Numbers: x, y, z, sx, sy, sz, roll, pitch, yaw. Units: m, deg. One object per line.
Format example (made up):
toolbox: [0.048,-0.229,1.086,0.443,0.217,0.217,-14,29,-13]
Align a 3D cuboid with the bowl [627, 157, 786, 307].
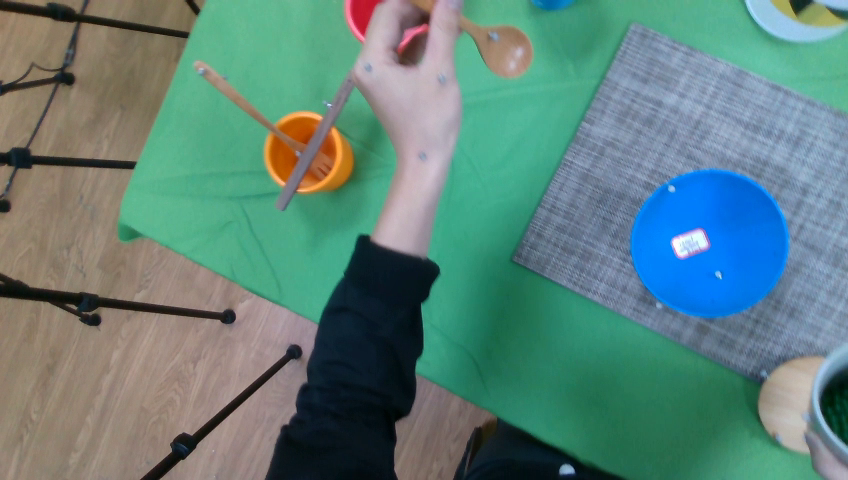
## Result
bowl: [0.287,-0.009,0.641,0.151,0.077,0.151,0,92,9]

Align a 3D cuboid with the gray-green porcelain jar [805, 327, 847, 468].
gray-green porcelain jar: [0.379,0.138,0.504,0.105,0.128,0.105,-14,58,24]

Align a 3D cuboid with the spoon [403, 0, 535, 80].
spoon: [0.030,-0.163,0.459,0.021,0.195,0.042,39,109,32]

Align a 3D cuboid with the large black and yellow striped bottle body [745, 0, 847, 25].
large black and yellow striped bottle body: [0.387,-0.293,0.565,0.130,0.184,0.131,0,92,9]

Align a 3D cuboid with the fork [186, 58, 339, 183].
fork: [-0.175,-0.130,0.677,0.028,0.018,0.209,-39,130,16]

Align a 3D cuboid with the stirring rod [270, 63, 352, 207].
stirring rod: [-0.125,-0.115,0.668,0.014,0.006,0.176,30,97,4]

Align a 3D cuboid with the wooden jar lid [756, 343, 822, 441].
wooden jar lid: [0.418,0.163,0.657,0.108,0.021,0.108,1,97,12]
